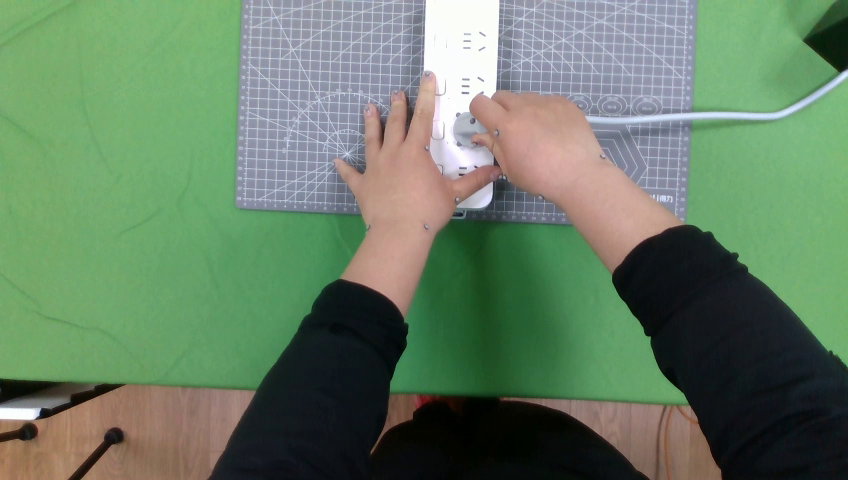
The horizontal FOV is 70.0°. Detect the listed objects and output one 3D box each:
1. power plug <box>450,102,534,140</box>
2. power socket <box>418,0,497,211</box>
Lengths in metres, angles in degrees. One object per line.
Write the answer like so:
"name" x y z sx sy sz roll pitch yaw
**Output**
"power plug" 0.060 -0.108 0.569 0.072 0.052 0.035 15 89 -2
"power socket" 0.032 -0.142 0.587 0.072 0.032 0.226 1 92 0
